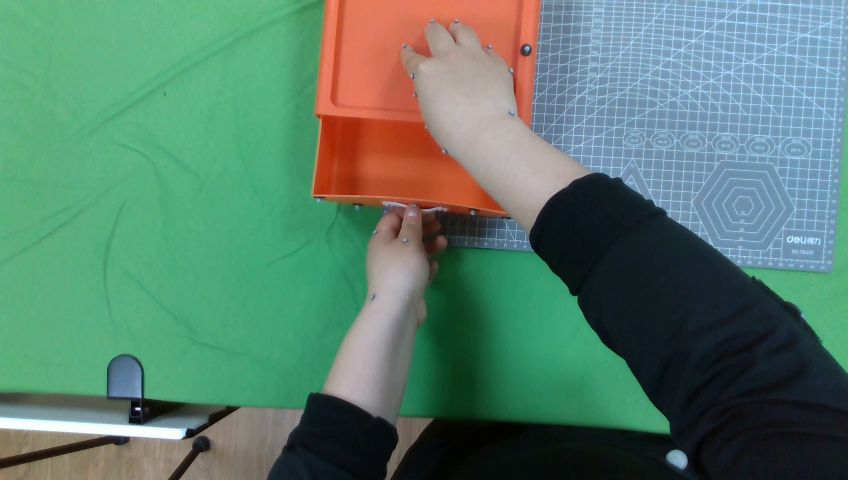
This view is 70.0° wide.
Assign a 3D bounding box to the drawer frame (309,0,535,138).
[{"bbox_3d":[0.003,-0.210,0.582,0.201,0.083,0.213,4,90,6],"label":"drawer frame"}]

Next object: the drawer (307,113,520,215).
[{"bbox_3d":[-0.001,-0.134,0.585,0.194,0.073,0.211,5,89,5],"label":"drawer"}]

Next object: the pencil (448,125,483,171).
[{"bbox_3d":[0.005,-0.149,0.603,0.012,0.012,0.194,-34,88,4],"label":"pencil"}]
